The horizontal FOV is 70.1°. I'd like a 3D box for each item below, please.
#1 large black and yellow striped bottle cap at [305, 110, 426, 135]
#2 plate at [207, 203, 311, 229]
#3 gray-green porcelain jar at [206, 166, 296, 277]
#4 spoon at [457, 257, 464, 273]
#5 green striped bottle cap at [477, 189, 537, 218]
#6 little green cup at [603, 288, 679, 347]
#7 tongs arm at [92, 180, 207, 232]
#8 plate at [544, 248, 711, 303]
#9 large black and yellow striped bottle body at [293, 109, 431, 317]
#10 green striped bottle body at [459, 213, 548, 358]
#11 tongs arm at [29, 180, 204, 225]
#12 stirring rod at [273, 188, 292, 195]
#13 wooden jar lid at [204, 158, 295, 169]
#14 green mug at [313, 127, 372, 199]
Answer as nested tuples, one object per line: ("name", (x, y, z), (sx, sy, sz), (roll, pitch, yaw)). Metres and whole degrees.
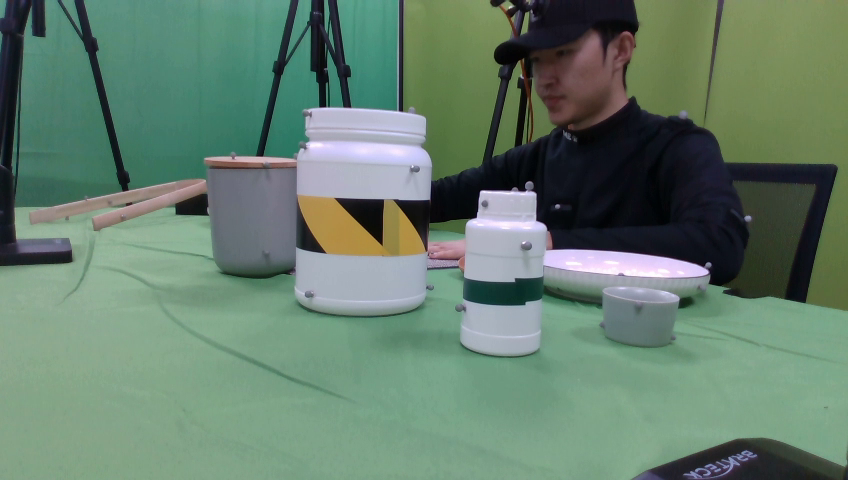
("large black and yellow striped bottle cap", (-0.055, -0.110, 0.574), (0.115, 0.019, 0.115), (1, 7, 0))
("plate", (-0.342, -0.050, 1.260), (0.208, 0.039, 0.207), (3, 8, 0))
("gray-green porcelain jar", (-0.201, -0.024, 0.724), (0.106, 0.126, 0.106), (-1, 9, 1))
("spoon", (0.059, 0.044, 0.696), (0.041, 0.021, 0.193), (21, 7, 0))
("green striped bottle cap", (0.062, -0.027, 0.453), (0.044, 0.020, 0.044), (2, 5, 0))
("little green cup", (0.180, 0.064, 0.505), (0.061, 0.038, 0.061), (2, 7, 0))
("tongs arm", (-0.534, -0.076, 1.222), (0.028, 0.028, 0.388), (-2, 15, 12))
("plate", (0.219, 0.042, 0.706), (0.209, 0.038, 0.209), (2, 7, 0))
("large black and yellow striped bottle body", (-0.060, -0.028, 0.585), (0.131, 0.184, 0.130), (2, 7, 0))
("green striped bottle body", (0.061, 0.024, 0.460), (0.063, 0.119, 0.063), (2, 8, 0))
("tongs arm", (-0.609, -0.083, 1.245), (0.050, 0.026, 0.386), (5, 16, 23))
("stirring rod", (-0.354, -0.122, 1.519), (0.006, 0.014, 0.176), (2, 7, 1))
("wooden jar lid", (-0.202, -0.086, 0.714), (0.108, 0.020, 0.108), (3, 11, 0))
("green mug", (-0.132, -0.122, 0.984), (0.093, 0.105, 0.125), (6, 2, -16))
